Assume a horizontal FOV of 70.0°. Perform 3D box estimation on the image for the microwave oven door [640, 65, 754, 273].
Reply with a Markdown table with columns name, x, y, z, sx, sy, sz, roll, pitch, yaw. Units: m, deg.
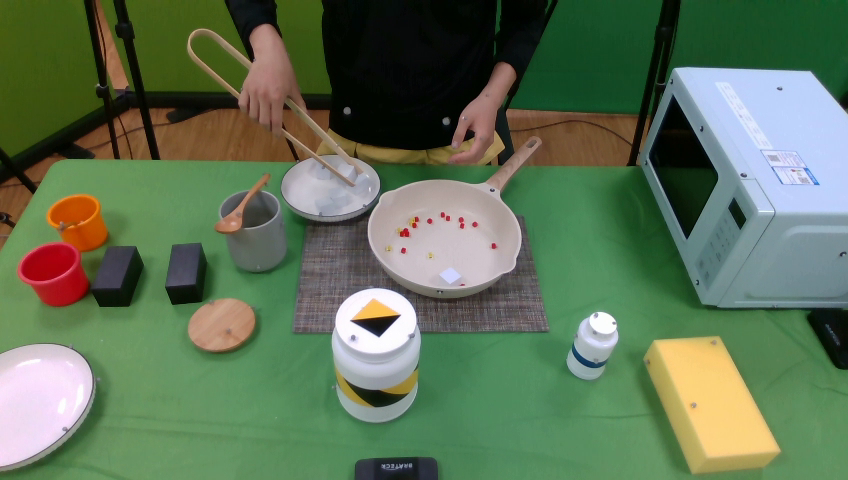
| name | x | y | z | sx | sy | sz | roll | pitch | yaw |
| --- | --- | --- | --- | --- | --- | --- | --- | --- | --- |
| microwave oven door | 0.523 | -0.147 | 1.193 | 0.039 | 0.245 | 0.353 | 0 | 47 | -3 |

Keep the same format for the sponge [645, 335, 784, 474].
| name | x | y | z | sx | sy | sz | roll | pitch | yaw |
| --- | --- | --- | --- | --- | --- | --- | --- | --- | --- |
| sponge | 0.449 | 0.253 | 0.956 | 0.118 | 0.061 | 0.205 | -4 | 46 | -7 |

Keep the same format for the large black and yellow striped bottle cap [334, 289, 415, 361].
| name | x | y | z | sx | sy | sz | roll | pitch | yaw |
| --- | --- | --- | --- | --- | --- | --- | --- | --- | --- |
| large black and yellow striped bottle cap | -0.069 | 0.117 | 0.850 | 0.115 | 0.019 | 0.114 | 2 | 45 | -2 |

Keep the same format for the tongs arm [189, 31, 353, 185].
| name | x | y | z | sx | sy | sz | roll | pitch | yaw |
| --- | --- | --- | --- | --- | --- | --- | --- | --- | --- |
| tongs arm | -0.279 | -0.232 | 1.120 | 0.389 | 0.027 | 0.028 | 41 | 77 | -17 |

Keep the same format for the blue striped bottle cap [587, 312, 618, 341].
| name | x | y | z | sx | sy | sz | roll | pitch | yaw |
| --- | --- | --- | --- | --- | --- | --- | --- | --- | --- |
| blue striped bottle cap | 0.279 | 0.134 | 0.946 | 0.044 | 0.021 | 0.044 | 2 | 45 | -2 |

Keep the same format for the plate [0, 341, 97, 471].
| name | x | y | z | sx | sy | sz | roll | pitch | yaw |
| --- | --- | --- | --- | --- | --- | --- | --- | --- | --- |
| plate | -0.599 | 0.247 | 0.904 | 0.209 | 0.038 | 0.208 | 2 | 47 | -2 |

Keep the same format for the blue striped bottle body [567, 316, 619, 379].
| name | x | y | z | sx | sy | sz | roll | pitch | yaw |
| --- | --- | --- | --- | --- | --- | --- | --- | --- | --- |
| blue striped bottle body | 0.276 | 0.168 | 0.984 | 0.063 | 0.121 | 0.062 | 2 | 46 | -2 |

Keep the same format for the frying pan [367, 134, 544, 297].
| name | x | y | z | sx | sy | sz | roll | pitch | yaw |
| --- | --- | --- | --- | --- | --- | --- | --- | --- | --- |
| frying pan | 0.104 | -0.069 | 1.205 | 0.305 | 0.103 | 0.487 | 33 | 61 | 23 |

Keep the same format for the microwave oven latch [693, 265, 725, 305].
| name | x | y | z | sx | sy | sz | roll | pitch | yaw |
| --- | --- | --- | --- | --- | --- | --- | --- | --- | --- |
| microwave oven latch | 0.523 | 0.081 | 1.116 | 0.030 | 0.029 | 0.078 | 2 | 46 | -1 |

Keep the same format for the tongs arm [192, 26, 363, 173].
| name | x | y | z | sx | sy | sz | roll | pitch | yaw |
| --- | --- | --- | --- | --- | --- | --- | --- | --- | --- |
| tongs arm | -0.266 | -0.250 | 1.126 | 0.386 | 0.026 | 0.050 | 46 | 72 | -16 |

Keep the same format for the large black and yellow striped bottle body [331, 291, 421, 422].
| name | x | y | z | sx | sy | sz | roll | pitch | yaw |
| --- | --- | --- | --- | --- | --- | --- | --- | --- | --- |
| large black and yellow striped bottle body | -0.071 | 0.175 | 0.911 | 0.131 | 0.185 | 0.130 | 2 | 47 | -2 |

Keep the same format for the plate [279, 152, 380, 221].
| name | x | y | z | sx | sy | sz | roll | pitch | yaw |
| --- | --- | --- | --- | --- | --- | --- | --- | --- | --- |
| plate | -0.196 | -0.107 | 1.269 | 0.208 | 0.039 | 0.206 | 2 | 45 | -2 |

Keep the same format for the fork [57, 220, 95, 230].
| name | x | y | z | sx | sy | sz | roll | pitch | yaw |
| --- | --- | --- | --- | --- | --- | --- | --- | --- | --- |
| fork | -0.624 | -0.027 | 1.086 | 0.028 | 0.207 | 0.018 | -2 | 91 | -17 |

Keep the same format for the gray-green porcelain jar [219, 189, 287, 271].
| name | x | y | z | sx | sy | sz | roll | pitch | yaw |
| --- | --- | --- | --- | --- | --- | --- | --- | --- | --- |
| gray-green porcelain jar | -0.310 | -0.014 | 1.114 | 0.106 | 0.127 | 0.105 | 2 | 46 | -2 |

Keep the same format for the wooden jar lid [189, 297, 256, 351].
| name | x | y | z | sx | sy | sz | roll | pitch | yaw |
| --- | --- | --- | --- | --- | --- | --- | --- | --- | --- |
| wooden jar lid | -0.342 | 0.145 | 1.033 | 0.108 | 0.021 | 0.107 | 2 | 45 | -2 |

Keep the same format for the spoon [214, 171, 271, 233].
| name | x | y | z | sx | sy | sz | roll | pitch | yaw |
| --- | --- | --- | --- | --- | --- | --- | --- | --- | --- |
| spoon | -0.312 | -0.070 | 1.070 | 0.041 | 0.022 | 0.193 | 9 | 43 | 10 |

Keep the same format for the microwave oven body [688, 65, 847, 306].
| name | x | y | z | sx | sy | sz | roll | pitch | yaw |
| --- | --- | --- | --- | --- | --- | --- | --- | --- | --- |
| microwave oven body | 0.669 | -0.111 | 1.176 | 0.326 | 0.261 | 0.439 | 0 | 46 | -3 |
